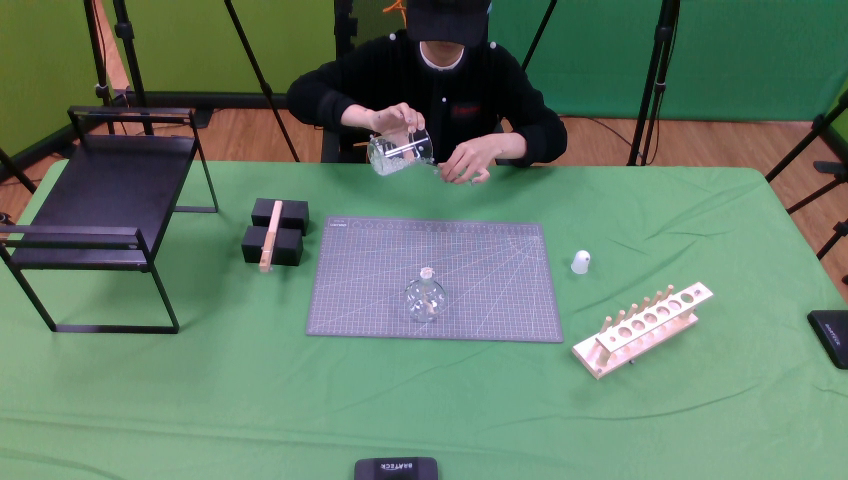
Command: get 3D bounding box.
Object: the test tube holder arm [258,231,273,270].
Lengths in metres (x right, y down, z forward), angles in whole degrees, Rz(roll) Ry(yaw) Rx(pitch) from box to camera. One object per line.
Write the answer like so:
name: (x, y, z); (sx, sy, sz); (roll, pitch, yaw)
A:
test tube holder arm: (-0.282, 0.018, 1.086); (0.015, 0.010, 0.087); (-3, 47, 3)

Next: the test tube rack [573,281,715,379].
test tube rack: (0.378, 0.140, 1.038); (0.242, 0.085, 0.066); (-22, 51, -23)

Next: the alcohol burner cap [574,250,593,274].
alcohol burner cap: (0.308, 0.039, 1.163); (0.034, 0.048, 0.033); (1, 46, -1)

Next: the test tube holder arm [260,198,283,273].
test tube holder arm: (-0.282, -0.012, 1.121); (0.015, 0.013, 0.177); (-3, 48, 3)

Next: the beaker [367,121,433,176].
beaker: (-0.045, -0.160, 1.087); (0.100, 0.084, 0.073); (-23, 42, -21)

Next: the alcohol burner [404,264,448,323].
alcohol burner: (0.003, 0.087, 1.042); (0.078, 0.120, 0.077); (1, 45, 0)

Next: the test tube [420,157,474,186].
test tube: (0.048, -0.131, 1.179); (0.151, 0.017, 0.017); (18, 31, -44)
